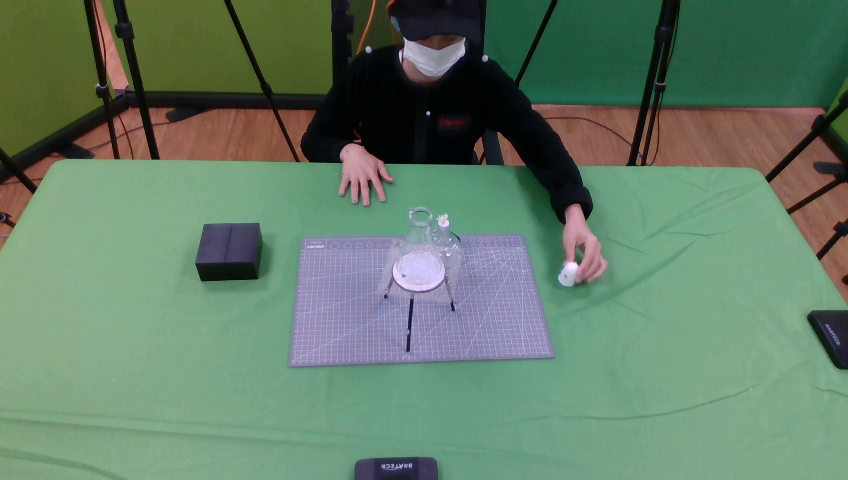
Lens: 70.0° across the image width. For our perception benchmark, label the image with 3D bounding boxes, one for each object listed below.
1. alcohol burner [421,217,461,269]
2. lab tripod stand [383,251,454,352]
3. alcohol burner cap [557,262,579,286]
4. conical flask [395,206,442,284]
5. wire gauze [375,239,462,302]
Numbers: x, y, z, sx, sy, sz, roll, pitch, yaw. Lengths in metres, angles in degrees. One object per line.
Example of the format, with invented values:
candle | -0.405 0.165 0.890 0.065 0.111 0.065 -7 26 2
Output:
alcohol burner | 0.033 -0.001 1.135 0.078 0.119 0.077 3 48 -3
lab tripod stand | -0.015 0.094 1.025 0.148 0.132 0.147 1 46 -1
alcohol burner cap | 0.269 0.060 1.121 0.034 0.048 0.033 6 49 -7
conical flask | -0.007 0.005 0.937 0.075 0.122 0.075 2 45 -1
wire gauze | -0.006 0.049 0.977 0.121 0.011 0.124 10 44 5
